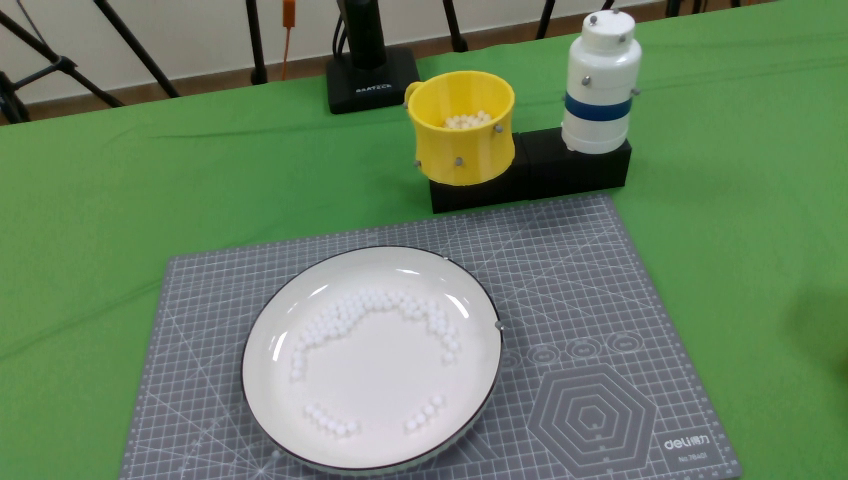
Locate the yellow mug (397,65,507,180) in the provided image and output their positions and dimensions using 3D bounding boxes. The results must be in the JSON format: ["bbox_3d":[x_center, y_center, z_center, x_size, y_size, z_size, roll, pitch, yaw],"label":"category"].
[{"bbox_3d":[0.019,-0.122,0.592,0.129,0.064,0.100,32,58,32],"label":"yellow mug"}]

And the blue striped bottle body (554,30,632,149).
[{"bbox_3d":[0.156,-0.151,0.564,0.063,0.122,0.062,-4,48,4],"label":"blue striped bottle body"}]

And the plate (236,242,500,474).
[{"bbox_3d":[-0.043,0.089,0.489,0.207,0.039,0.205,-3,47,4],"label":"plate"}]

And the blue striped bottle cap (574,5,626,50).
[{"bbox_3d":[0.153,-0.185,0.526,0.044,0.021,0.044,-5,46,6],"label":"blue striped bottle cap"}]
